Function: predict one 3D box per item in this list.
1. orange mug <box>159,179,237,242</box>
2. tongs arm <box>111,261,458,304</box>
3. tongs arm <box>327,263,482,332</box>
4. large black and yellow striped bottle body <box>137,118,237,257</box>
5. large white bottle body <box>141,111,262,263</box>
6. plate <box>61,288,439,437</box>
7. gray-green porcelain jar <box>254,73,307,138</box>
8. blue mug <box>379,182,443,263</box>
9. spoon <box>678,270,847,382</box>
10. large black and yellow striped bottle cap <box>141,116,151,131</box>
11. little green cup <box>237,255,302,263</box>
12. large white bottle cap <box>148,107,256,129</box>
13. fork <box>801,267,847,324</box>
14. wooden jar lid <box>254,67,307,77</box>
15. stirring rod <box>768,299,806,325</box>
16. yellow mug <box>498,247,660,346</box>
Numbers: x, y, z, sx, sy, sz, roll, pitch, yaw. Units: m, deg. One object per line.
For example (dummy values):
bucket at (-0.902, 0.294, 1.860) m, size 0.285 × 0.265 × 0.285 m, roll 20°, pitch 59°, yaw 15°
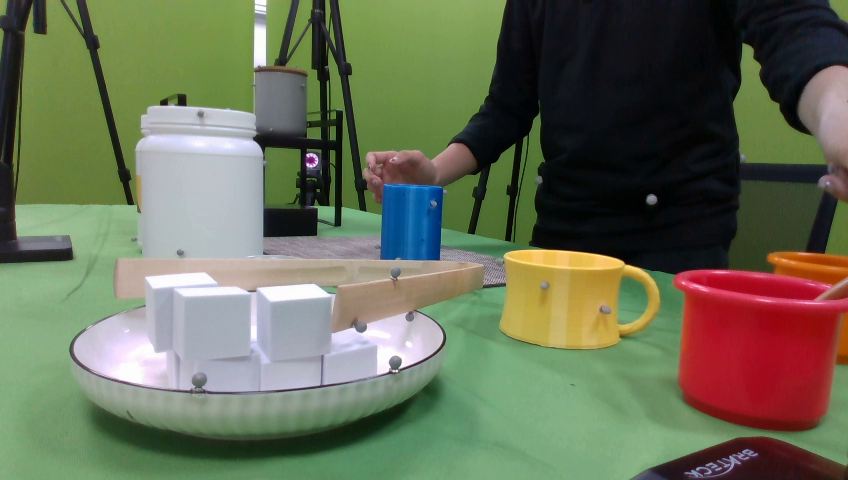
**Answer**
orange mug at (-0.368, -0.051, 0.991) m, size 0.127 × 0.101 × 0.083 m, roll -10°, pitch 14°, yaw -41°
tongs arm at (-0.080, 0.032, 0.527) m, size 0.028 × 0.027 × 0.389 m, roll -3°, pitch -3°, yaw 33°
tongs arm at (-0.003, 0.036, 0.493) m, size 0.050 × 0.026 × 0.386 m, roll 1°, pitch 0°, yaw 19°
large black and yellow striped bottle body at (-0.330, -0.075, 0.849) m, size 0.131 × 0.184 × 0.130 m, roll 2°, pitch 8°, yaw 0°
large white bottle body at (-0.254, -0.053, 0.697) m, size 0.131 × 0.184 × 0.130 m, roll 2°, pitch 7°, yaw 0°
plate at (-0.095, 0.069, 0.362) m, size 0.208 × 0.039 × 0.207 m, roll 3°, pitch 7°, yaw 0°
gray-green porcelain jar at (-0.298, -0.277, 1.259) m, size 0.106 × 0.126 × 0.106 m, roll 3°, pitch 8°, yaw 0°
blue mug at (-0.020, -0.025, 0.833) m, size 0.082 × 0.106 × 0.116 m, roll 1°, pitch 7°, yaw -6°
spoon at (0.229, 0.031, 0.338) m, size 0.193 × 0.021 × 0.042 m, roll -44°, pitch -17°, yaw 27°
large black and yellow striped bottle cap at (-0.328, -0.158, 0.837) m, size 0.115 × 0.019 × 0.115 m, roll 2°, pitch 6°, yaw 0°
little green cup at (-0.150, 0.038, 0.590) m, size 0.061 × 0.038 × 0.061 m, roll 3°, pitch 6°, yaw 0°
large white bottle cap at (-0.250, -0.137, 0.686) m, size 0.115 × 0.018 × 0.115 m, roll 3°, pitch 8°, yaw 0°
fork at (0.324, 0.018, 0.441) m, size 0.028 × 0.018 × 0.207 m, roll -3°, pitch -36°, yaw -4°
wooden jar lid at (-0.296, -0.339, 1.251) m, size 0.108 × 0.020 × 0.108 m, roll 2°, pitch 7°, yaw 0°
stirring rod at (0.348, 0.021, 0.468) m, size 0.014 × 0.006 × 0.175 m, roll -15°, pitch -23°, yaw -50°
yellow mug at (0.130, 0.045, 0.508) m, size 0.131 × 0.064 × 0.100 m, roll 4°, pitch 7°, yaw 6°
